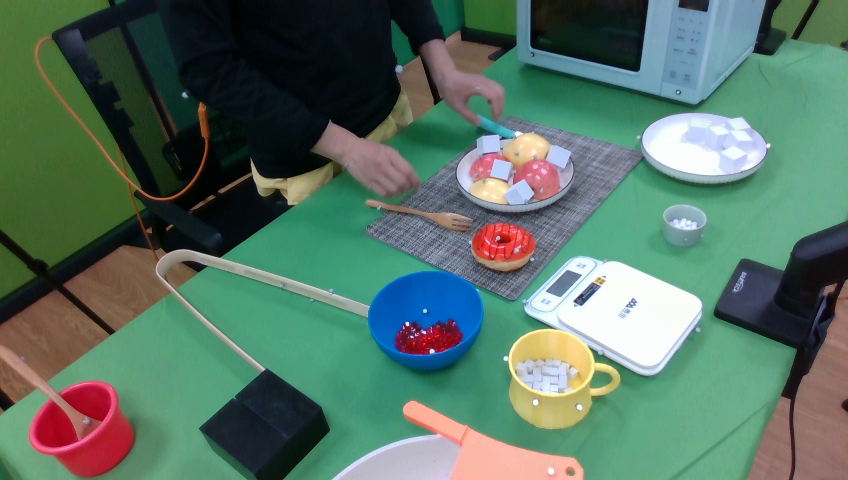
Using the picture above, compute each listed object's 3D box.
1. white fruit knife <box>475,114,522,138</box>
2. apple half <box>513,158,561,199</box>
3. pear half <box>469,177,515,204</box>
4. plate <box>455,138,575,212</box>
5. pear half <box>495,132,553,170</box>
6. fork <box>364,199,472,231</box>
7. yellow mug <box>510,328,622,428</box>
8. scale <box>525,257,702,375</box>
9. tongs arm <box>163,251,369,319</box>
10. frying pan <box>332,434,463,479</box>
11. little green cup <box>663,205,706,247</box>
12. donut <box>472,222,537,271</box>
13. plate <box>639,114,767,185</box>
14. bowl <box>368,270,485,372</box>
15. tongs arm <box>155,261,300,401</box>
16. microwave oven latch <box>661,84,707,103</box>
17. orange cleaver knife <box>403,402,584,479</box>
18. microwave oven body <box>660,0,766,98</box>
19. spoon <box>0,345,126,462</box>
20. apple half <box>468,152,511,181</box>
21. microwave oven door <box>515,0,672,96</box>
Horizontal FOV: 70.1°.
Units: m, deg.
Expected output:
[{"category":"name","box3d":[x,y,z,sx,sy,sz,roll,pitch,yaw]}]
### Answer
[{"category":"white fruit knife","box3d":[0.177,-0.207,1.190,0.205,0.016,0.027,31,65,35]},{"category":"apple half","box3d":[0.193,-0.111,1.031,0.080,0.053,0.075,11,41,26]},{"category":"pear half","box3d":[0.115,-0.090,1.036,0.087,0.031,0.071,29,39,32]},{"category":"plate","box3d":[0.159,-0.111,1.063,0.209,0.038,0.208,-4,40,4]},{"category":"pear half","box3d":[0.174,-0.167,1.094,0.109,0.056,0.076,15,53,30]},{"category":"fork","box3d":[-0.014,-0.046,1.028,0.206,0.028,0.019,14,20,27]},{"category":"yellow mug","box3d":[0.168,0.164,0.722,0.130,0.064,0.099,0,40,8]},{"category":"scale","box3d":[0.254,0.091,0.821,0.199,0.032,0.149,28,51,35]},{"category":"tongs arm","box3d":[-0.247,0.073,0.917,0.382,0.026,0.051,16,48,26]},{"category":"frying pan","box3d":[-0.089,0.306,0.564,0.487,0.103,0.306,10,41,7]},{"category":"little green cup","box3d":[0.396,-0.020,0.926,0.061,0.039,0.061,-4,40,4]},{"category":"donut","box3d":[0.123,0.008,0.923,0.099,0.048,0.098,-3,38,3]},{"category":"plate","box3d":[0.489,-0.157,1.074,0.207,0.039,0.206,-4,40,4]},{"category":"bowl","box3d":[0.007,0.118,0.791,0.151,0.077,0.150,-5,40,4]},{"category":"tongs arm","box3d":[-0.295,0.122,0.868,0.384,0.028,0.028,28,58,36]},{"category":"microwave oven latch","box3d":[0.517,-0.296,1.204,0.078,0.029,0.030,27,52,35]},{"category":"orange cleaver knife","box3d":[0.062,0.222,0.609,0.210,0.012,0.077,15,48,25]},{"category":"microwave oven body","box3d":[0.472,-0.513,1.317,0.438,0.261,0.327,26,51,34]},{"category":"spoon","box3d":[-0.434,0.192,0.720,0.194,0.021,0.042,47,53,-7]},{"category":"apple half","box3d":[0.119,-0.138,1.087,0.081,0.033,0.081,-1,45,1]},{"category":"microwave oven door","box3d":[0.343,-0.454,1.259,0.353,0.245,0.039,26,51,33]}]
